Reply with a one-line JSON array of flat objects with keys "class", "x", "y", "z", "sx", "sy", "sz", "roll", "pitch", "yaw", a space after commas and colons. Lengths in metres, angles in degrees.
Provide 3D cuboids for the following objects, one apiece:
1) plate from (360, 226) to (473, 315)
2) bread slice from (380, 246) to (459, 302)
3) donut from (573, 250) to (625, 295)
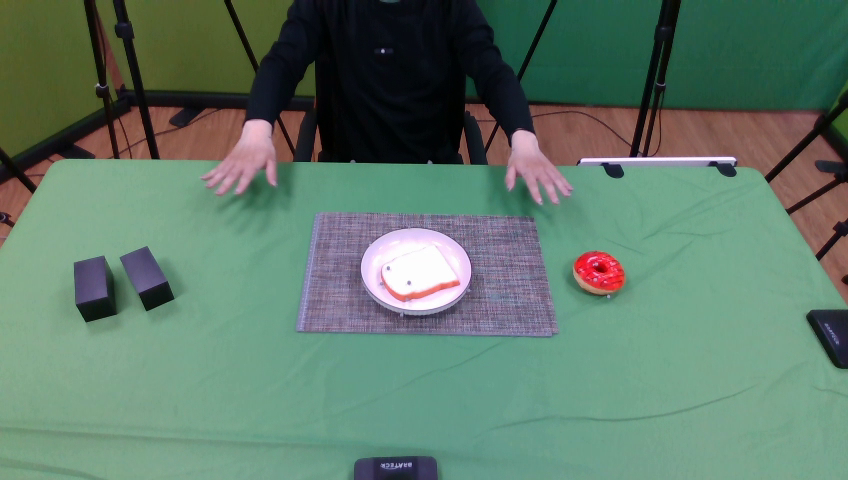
[{"class": "plate", "x": -0.013, "y": 0.059, "z": 1.124, "sx": 0.208, "sy": 0.039, "sz": 0.206, "roll": 2, "pitch": 46, "yaw": -2}, {"class": "bread slice", "x": -0.014, "y": 0.064, "z": 1.123, "sx": 0.132, "sy": 0.019, "sz": 0.104, "roll": -18, "pitch": 49, "yaw": -21}, {"class": "donut", "x": 0.332, "y": 0.062, "z": 1.149, "sx": 0.099, "sy": 0.048, "sz": 0.098, "roll": 4, "pitch": 45, "yaw": -4}]
